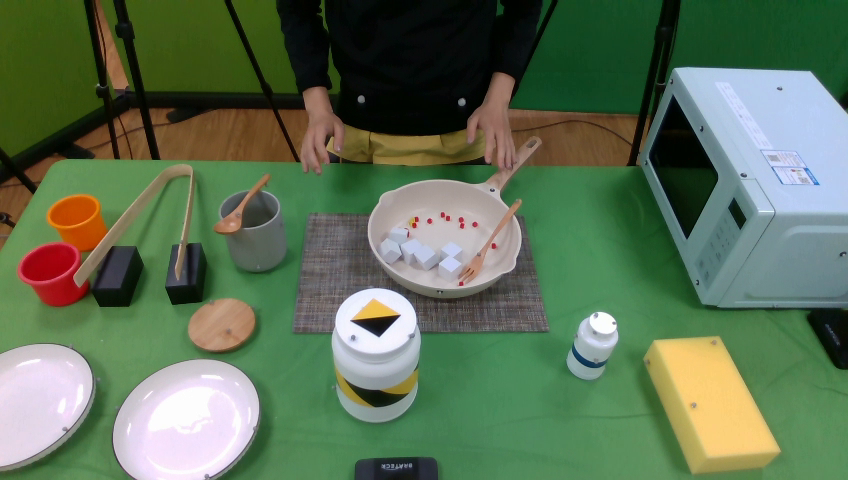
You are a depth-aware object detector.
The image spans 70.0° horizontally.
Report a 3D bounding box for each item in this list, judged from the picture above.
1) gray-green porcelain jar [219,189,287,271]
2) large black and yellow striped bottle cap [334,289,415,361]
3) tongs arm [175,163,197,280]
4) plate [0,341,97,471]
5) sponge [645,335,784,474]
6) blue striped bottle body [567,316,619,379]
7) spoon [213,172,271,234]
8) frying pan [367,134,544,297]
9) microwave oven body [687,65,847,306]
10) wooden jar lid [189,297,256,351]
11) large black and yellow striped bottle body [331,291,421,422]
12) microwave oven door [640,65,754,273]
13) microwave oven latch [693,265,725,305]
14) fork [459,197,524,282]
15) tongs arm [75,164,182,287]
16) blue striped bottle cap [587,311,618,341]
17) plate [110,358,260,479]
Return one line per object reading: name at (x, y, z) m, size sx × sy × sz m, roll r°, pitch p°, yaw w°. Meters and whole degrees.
gray-green porcelain jar at (-0.309, -0.014, 1.113) m, size 0.106 × 0.127 × 0.105 m, roll 2°, pitch 46°, yaw -2°
large black and yellow striped bottle cap at (-0.069, 0.117, 0.850) m, size 0.115 × 0.019 × 0.114 m, roll 2°, pitch 45°, yaw -2°
tongs arm at (-0.462, -0.049, 1.149) m, size 0.051 × 0.026 × 0.382 m, roll -9°, pitch 36°, yaw -7°
plate at (-0.599, 0.247, 0.904) m, size 0.209 × 0.038 × 0.208 m, roll 2°, pitch 47°, yaw -2°
sponge at (0.449, 0.253, 0.956) m, size 0.118 × 0.061 × 0.205 m, roll -4°, pitch 46°, yaw -7°
blue striped bottle body at (0.276, 0.168, 0.984) m, size 0.063 × 0.121 × 0.062 m, roll 2°, pitch 46°, yaw -2°
spoon at (-0.313, -0.069, 1.069) m, size 0.041 × 0.022 × 0.193 m, roll 10°, pitch 43°, yaw 11°
frying pan at (0.104, -0.069, 1.205) m, size 0.305 × 0.103 × 0.487 m, roll 32°, pitch 61°, yaw 23°
microwave oven body at (0.669, -0.111, 1.176) m, size 0.326 × 0.261 × 0.439 m, roll 0°, pitch 46°, yaw -3°
wooden jar lid at (-0.342, 0.145, 1.033) m, size 0.108 × 0.021 × 0.107 m, roll 3°, pitch 45°, yaw -2°
large black and yellow striped bottle body at (-0.071, 0.175, 0.911) m, size 0.131 × 0.185 × 0.130 m, roll 2°, pitch 47°, yaw -2°
microwave oven door at (0.523, -0.147, 1.193) m, size 0.039 × 0.245 × 0.353 m, roll 0°, pitch 47°, yaw -3°
microwave oven latch at (0.523, 0.082, 1.116) m, size 0.030 × 0.029 × 0.078 m, roll 2°, pitch 46°, yaw -1°
fork at (0.132, -0.004, 1.158) m, size 0.028 × 0.019 × 0.207 m, roll 28°, pitch 75°, yaw 30°
tongs arm at (-0.548, -0.043, 1.143) m, size 0.028 × 0.028 × 0.385 m, roll -3°, pitch 35°, yaw 7°
blue striped bottle cap at (0.279, 0.134, 0.946) m, size 0.044 × 0.021 × 0.044 m, roll 2°, pitch 45°, yaw -2°
plate at (-0.349, 0.273, 0.899) m, size 0.208 × 0.039 × 0.206 m, roll 2°, pitch 46°, yaw -2°
